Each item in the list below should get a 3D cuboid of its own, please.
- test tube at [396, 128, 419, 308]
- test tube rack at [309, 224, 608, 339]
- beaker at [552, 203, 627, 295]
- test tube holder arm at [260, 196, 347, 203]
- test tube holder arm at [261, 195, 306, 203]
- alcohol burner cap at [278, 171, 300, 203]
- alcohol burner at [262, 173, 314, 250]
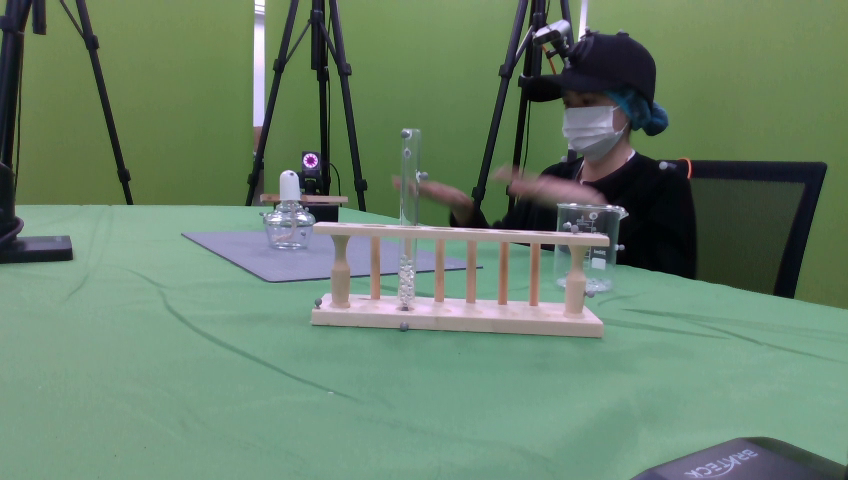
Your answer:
[{"bbox_3d":[-0.014,-0.016,0.501,0.017,0.150,0.017,2,11,0],"label":"test tube"},{"bbox_3d":[0.028,0.032,0.528,0.242,0.085,0.067,3,7,0],"label":"test tube rack"},{"bbox_3d":[0.191,0.010,0.708,0.083,0.100,0.074,8,9,33],"label":"beaker"},{"bbox_3d":[-0.239,-0.082,1.213,0.179,0.015,0.013,-1,0,-32],"label":"test tube holder arm"},{"bbox_3d":[-0.275,-0.081,1.185,0.088,0.015,0.010,-1,0,-32],"label":"test tube holder arm"},{"bbox_3d":[-0.203,-0.080,0.909,0.034,0.048,0.034,-1,3,0],"label":"alcohol burner cap"},{"bbox_3d":[-0.205,-0.045,0.913,0.078,0.119,0.078,1,9,0],"label":"alcohol burner"}]
